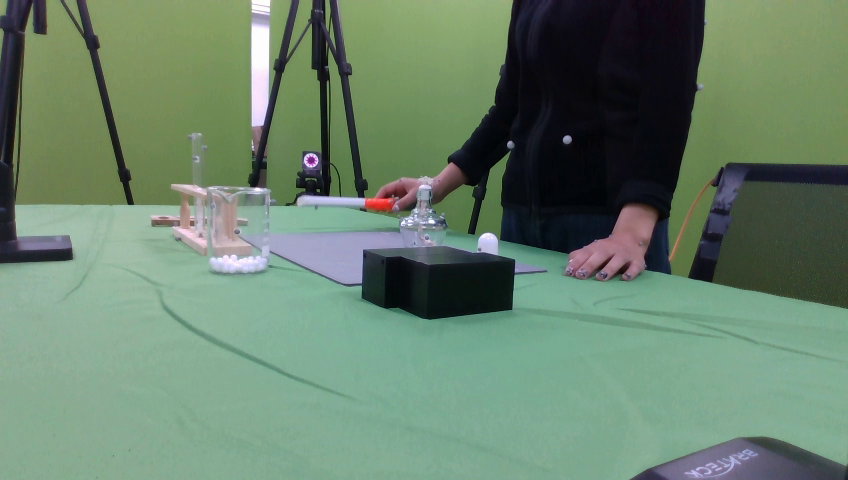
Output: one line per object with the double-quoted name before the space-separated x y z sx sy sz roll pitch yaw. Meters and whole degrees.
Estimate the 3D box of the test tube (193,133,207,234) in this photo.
"test tube" -0.335 -0.084 0.904 0.017 0.150 0.017 -1 2 0

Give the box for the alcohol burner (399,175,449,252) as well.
"alcohol burner" 0.000 -0.041 0.937 0.078 0.119 0.078 0 7 0

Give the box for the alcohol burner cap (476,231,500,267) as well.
"alcohol burner cap" 0.088 0.012 0.830 0.034 0.048 0.034 3 7 0

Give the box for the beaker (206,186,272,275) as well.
"beaker" -0.220 -0.012 0.717 0.074 0.100 0.084 2 8 -3

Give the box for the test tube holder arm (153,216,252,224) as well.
"test tube holder arm" -0.422 -0.038 1.159 0.179 0.015 0.013 -2 42 -31

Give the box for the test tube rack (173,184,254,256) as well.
"test tube rack" -0.328 -0.036 0.927 0.067 0.085 0.241 -2 9 -32

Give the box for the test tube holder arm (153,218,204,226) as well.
"test tube holder arm" -0.459 -0.034 1.132 0.088 0.015 0.010 -1 42 -29

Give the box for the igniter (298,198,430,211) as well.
"igniter" -0.114 -0.072 1.209 0.278 0.025 0.057 -1 -2 -31
